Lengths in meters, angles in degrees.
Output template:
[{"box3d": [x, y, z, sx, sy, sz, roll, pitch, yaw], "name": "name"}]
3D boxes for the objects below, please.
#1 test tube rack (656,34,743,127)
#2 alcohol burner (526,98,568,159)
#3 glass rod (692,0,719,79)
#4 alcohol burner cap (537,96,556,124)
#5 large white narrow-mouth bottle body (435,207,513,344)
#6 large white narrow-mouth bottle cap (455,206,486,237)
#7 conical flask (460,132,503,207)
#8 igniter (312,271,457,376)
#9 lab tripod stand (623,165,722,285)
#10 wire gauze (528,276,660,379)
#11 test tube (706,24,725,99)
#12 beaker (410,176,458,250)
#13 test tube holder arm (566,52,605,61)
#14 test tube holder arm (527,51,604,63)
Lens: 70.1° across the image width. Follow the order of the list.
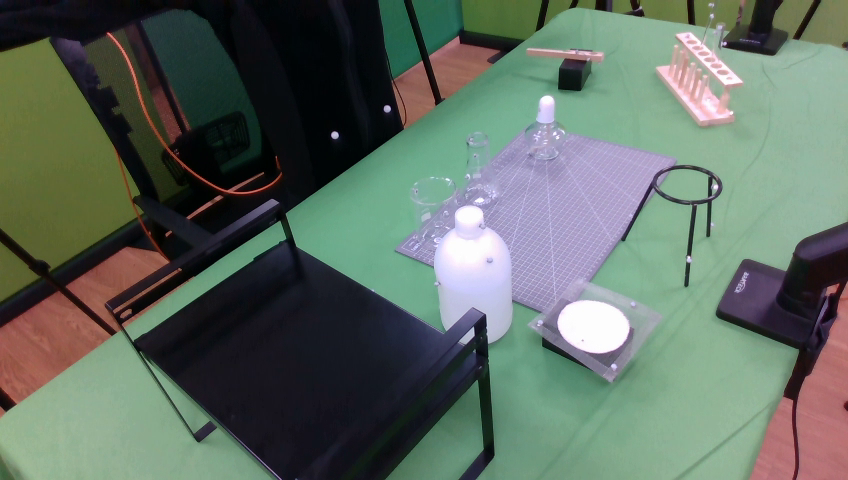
[{"box3d": [0.553, -0.330, 1.233, 0.067, 0.085, 0.241, -7, 40, 2], "name": "test tube rack"}, {"box3d": [0.228, -0.210, 1.118, 0.078, 0.119, 0.077, -5, 43, 5], "name": "alcohol burner"}, {"box3d": [0.561, -0.401, 1.214, 0.008, 0.200, 0.008, -1, 48, 2], "name": "glass rod"}, {"box3d": [0.223, -0.238, 1.095, 0.034, 0.048, 0.033, -2, 37, 2], "name": "alcohol burner cap"}, {"box3d": [0.065, 0.041, 0.791, 0.102, 0.195, 0.101, -4, 41, 4], "name": "large white narrow-mouth bottle body"}, {"box3d": [0.057, -0.023, 0.734, 0.038, 0.024, 0.037, -4, 40, 4], "name": "large white narrow-mouth bottle cap"}, {"box3d": [0.096, -0.123, 1.030, 0.075, 0.122, 0.075, -4, 40, 4], "name": "conical flask"}, {"box3d": [-0.068, 0.111, 0.859, 0.274, 0.025, 0.057, 27, 61, 34], "name": "igniter"}, {"box3d": [0.365, -0.030, 0.875, 0.148, 0.132, 0.147, -6, 41, 6], "name": "lab tripod stand"}, {"box3d": [0.214, 0.103, 0.763, 0.124, 0.011, 0.122, 30, 52, 35], "name": "wire gauze"}, {"box3d": [0.564, -0.342, 1.169, 0.017, 0.151, 0.017, -7, 40, 6], "name": "test tube"}, {"box3d": [0.022, -0.041, 0.963, 0.073, 0.101, 0.084, 28, 51, 34], "name": "beaker"}, {"box3d": [0.352, -0.401, 1.325, 0.087, 0.015, 0.010, 15, 38, 31], "name": "test tube holder arm"}, {"box3d": [0.311, -0.408, 1.344, 0.177, 0.015, 0.013, 14, 38, 30], "name": "test tube holder arm"}]
